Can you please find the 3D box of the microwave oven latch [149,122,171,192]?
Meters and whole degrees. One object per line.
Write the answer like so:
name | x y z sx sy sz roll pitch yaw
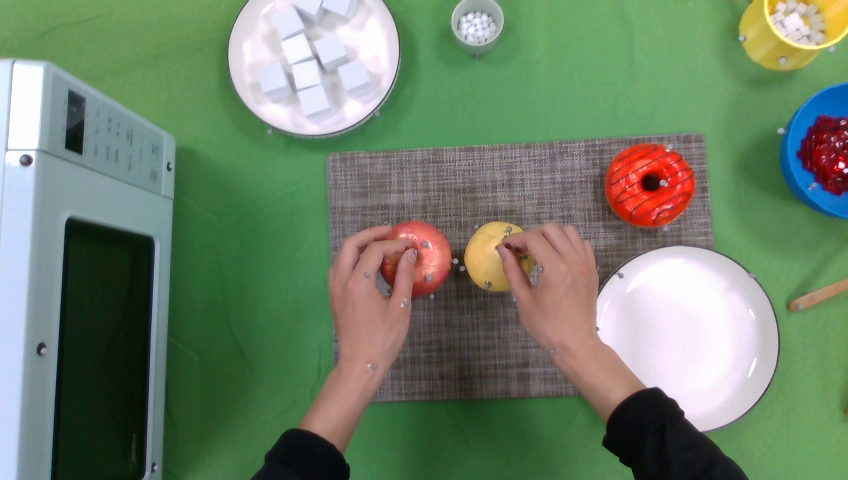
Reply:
microwave oven latch | -0.316 -0.097 0.713 0.030 0.029 0.079 3 86 3

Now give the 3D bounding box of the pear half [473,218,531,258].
pear half | 0.090 -0.007 0.667 0.070 0.088 0.031 20 80 8

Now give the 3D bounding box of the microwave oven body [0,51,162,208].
microwave oven body | -0.471 0.069 0.610 0.326 0.260 0.440 0 86 2

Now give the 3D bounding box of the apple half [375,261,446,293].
apple half | -0.013 0.041 0.652 0.081 0.081 0.032 1 82 3

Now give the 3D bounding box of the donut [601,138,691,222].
donut | 0.253 -0.068 0.696 0.099 0.048 0.099 -1 85 6

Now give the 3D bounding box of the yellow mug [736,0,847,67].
yellow mug | 0.415 -0.272 0.698 0.100 0.064 0.130 -35 83 0

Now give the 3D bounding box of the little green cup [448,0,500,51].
little green cup | 0.060 -0.259 0.728 0.061 0.039 0.061 0 85 3

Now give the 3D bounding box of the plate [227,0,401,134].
plate | -0.130 -0.227 0.735 0.207 0.039 0.207 0 85 3

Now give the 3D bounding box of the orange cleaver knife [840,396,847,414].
orange cleaver knife | 0.524 0.103 0.654 0.012 0.077 0.212 29 116 3

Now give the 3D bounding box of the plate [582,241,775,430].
plate | 0.282 0.105 0.683 0.209 0.038 0.208 0 85 3

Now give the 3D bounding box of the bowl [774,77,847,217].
bowl | 0.457 -0.096 0.676 0.151 0.077 0.151 0 86 3

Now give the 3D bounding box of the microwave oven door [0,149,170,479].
microwave oven door | -0.326 0.112 0.594 0.039 0.244 0.355 0 85 3

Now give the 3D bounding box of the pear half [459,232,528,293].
pear half | 0.074 0.024 0.657 0.076 0.110 0.055 17 68 11

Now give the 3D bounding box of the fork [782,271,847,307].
fork | 0.496 0.023 0.660 0.207 0.018 0.028 -32 90 20

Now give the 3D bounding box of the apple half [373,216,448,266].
apple half | -0.012 0.002 0.655 0.080 0.075 0.053 0 82 15
